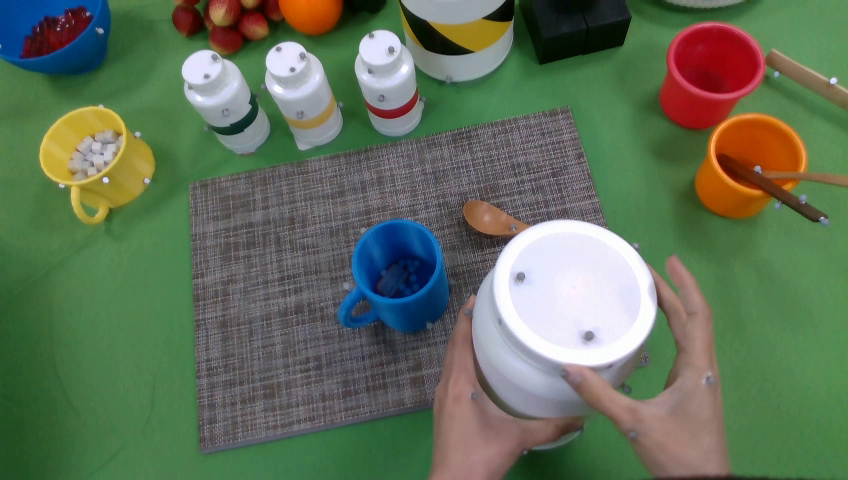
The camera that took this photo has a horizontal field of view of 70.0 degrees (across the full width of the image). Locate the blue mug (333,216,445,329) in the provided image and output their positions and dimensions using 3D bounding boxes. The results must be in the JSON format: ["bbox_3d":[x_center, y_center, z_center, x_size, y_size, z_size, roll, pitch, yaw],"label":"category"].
[{"bbox_3d":[-0.036,0.044,0.584,0.116,0.106,0.081,-36,70,-8],"label":"blue mug"}]

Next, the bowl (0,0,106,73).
[{"bbox_3d":[-0.460,-0.264,0.756,0.151,0.077,0.150,-1,69,4],"label":"bowl"}]

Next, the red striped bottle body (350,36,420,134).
[{"bbox_3d":[-0.043,-0.173,0.663,0.063,0.120,0.062,-3,68,7],"label":"red striped bottle body"}]

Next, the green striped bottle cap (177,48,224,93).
[{"bbox_3d":[-0.230,-0.175,0.624,0.044,0.020,0.044,-1,68,3],"label":"green striped bottle cap"}]

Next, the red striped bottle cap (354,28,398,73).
[{"bbox_3d":[-0.049,-0.193,0.614,0.044,0.018,0.044,0,67,1],"label":"red striped bottle cap"}]

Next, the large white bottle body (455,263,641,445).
[{"bbox_3d":[0.099,0.083,0.503,0.131,0.186,0.129,2,56,-3],"label":"large white bottle body"}]

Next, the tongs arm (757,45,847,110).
[{"bbox_3d":[0.537,-0.112,0.634,0.382,0.027,0.050,39,73,17],"label":"tongs arm"}]

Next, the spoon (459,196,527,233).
[{"bbox_3d":[0.128,-0.005,0.632,0.193,0.022,0.041,18,51,11],"label":"spoon"}]

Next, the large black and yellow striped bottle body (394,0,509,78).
[{"bbox_3d":[0.029,-0.282,0.663,0.131,0.185,0.130,-2,69,5],"label":"large black and yellow striped bottle body"}]

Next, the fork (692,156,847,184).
[{"bbox_3d":[0.348,-0.061,0.570,0.028,0.019,0.205,-49,29,-13],"label":"fork"}]

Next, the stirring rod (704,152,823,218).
[{"bbox_3d":[0.317,-0.057,0.579,0.014,0.006,0.174,-9,26,-1],"label":"stirring rod"}]

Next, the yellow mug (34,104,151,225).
[{"bbox_3d":[-0.376,-0.080,0.686,0.100,0.064,0.130,-2,70,4],"label":"yellow mug"}]

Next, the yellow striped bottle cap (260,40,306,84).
[{"bbox_3d":[-0.144,-0.182,0.619,0.044,0.019,0.044,0,65,1],"label":"yellow striped bottle cap"}]

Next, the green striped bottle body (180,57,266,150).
[{"bbox_3d":[-0.224,-0.156,0.672,0.063,0.120,0.062,-2,69,4],"label":"green striped bottle body"}]

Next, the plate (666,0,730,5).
[{"bbox_3d":[0.332,-0.370,0.748,0.209,0.038,0.207,-2,70,4],"label":"plate"}]

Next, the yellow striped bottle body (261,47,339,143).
[{"bbox_3d":[-0.138,-0.164,0.667,0.063,0.121,0.062,-2,68,5],"label":"yellow striped bottle body"}]

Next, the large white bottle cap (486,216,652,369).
[{"bbox_3d":[0.102,0.034,0.428,0.115,0.018,0.114,1,60,-1],"label":"large white bottle cap"}]
